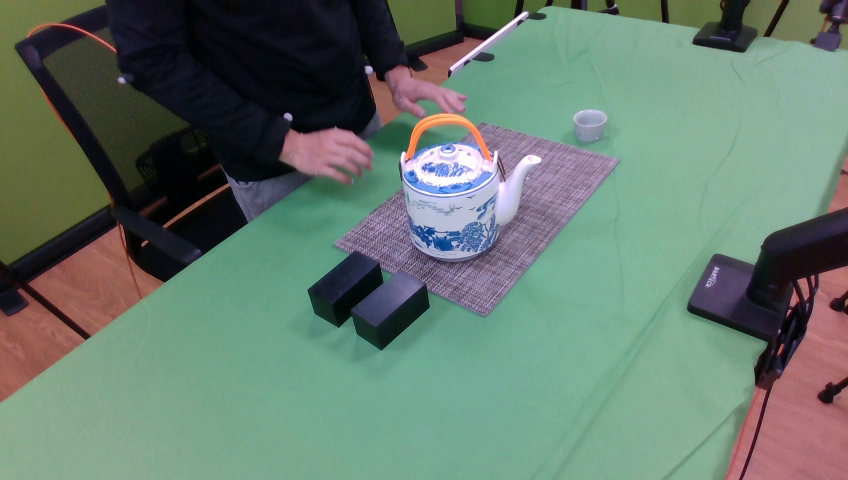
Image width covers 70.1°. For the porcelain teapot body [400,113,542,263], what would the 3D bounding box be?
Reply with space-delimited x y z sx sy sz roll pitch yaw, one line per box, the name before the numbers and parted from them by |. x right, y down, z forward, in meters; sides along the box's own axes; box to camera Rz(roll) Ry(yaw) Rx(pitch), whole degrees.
porcelain teapot body | 0.069 -0.086 0.897 0.205 0.226 0.144 -1 41 7

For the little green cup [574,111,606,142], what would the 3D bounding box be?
little green cup | 0.318 -0.217 1.164 0.061 0.039 0.061 -3 41 3

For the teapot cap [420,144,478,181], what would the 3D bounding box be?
teapot cap | 0.036 -0.114 0.874 0.085 0.044 0.085 -2 42 3
